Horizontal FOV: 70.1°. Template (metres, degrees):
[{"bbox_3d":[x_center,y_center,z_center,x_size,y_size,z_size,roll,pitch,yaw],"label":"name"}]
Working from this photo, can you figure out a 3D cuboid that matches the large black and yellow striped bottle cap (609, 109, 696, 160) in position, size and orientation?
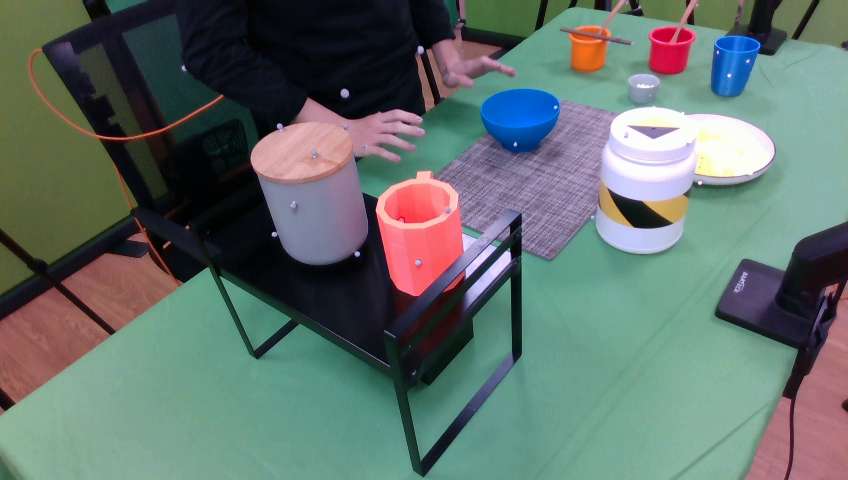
[{"bbox_3d":[0.319,-0.150,0.849,0.115,0.019,0.114,-4,39,3],"label":"large black and yellow striped bottle cap"}]

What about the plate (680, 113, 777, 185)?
[{"bbox_3d":[0.506,-0.158,1.073,0.209,0.038,0.208,-5,40,4],"label":"plate"}]

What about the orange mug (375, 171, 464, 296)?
[{"bbox_3d":[-0.001,-0.016,0.662,0.083,0.101,0.125,-2,45,8],"label":"orange mug"}]

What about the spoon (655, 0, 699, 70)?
[{"bbox_3d":[0.567,-0.463,1.337,0.041,0.022,0.193,30,96,38],"label":"spoon"}]

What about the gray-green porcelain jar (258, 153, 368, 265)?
[{"bbox_3d":[-0.122,-0.043,0.691,0.106,0.127,0.105,-4,40,4],"label":"gray-green porcelain jar"}]

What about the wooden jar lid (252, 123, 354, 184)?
[{"bbox_3d":[-0.129,-0.090,0.652,0.108,0.021,0.108,-3,41,4],"label":"wooden jar lid"}]

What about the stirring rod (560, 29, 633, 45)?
[{"bbox_3d":[0.381,-0.452,1.345,0.174,0.006,0.014,25,49,33],"label":"stirring rod"}]

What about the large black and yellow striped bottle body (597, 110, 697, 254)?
[{"bbox_3d":[0.331,-0.086,0.904,0.131,0.185,0.130,-5,41,4],"label":"large black and yellow striped bottle body"}]

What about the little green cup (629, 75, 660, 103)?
[{"bbox_3d":[0.457,-0.314,1.260,0.061,0.039,0.061,-4,40,4],"label":"little green cup"}]

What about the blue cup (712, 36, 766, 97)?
[{"bbox_3d":[0.627,-0.350,1.227,0.092,0.100,0.092,-4,39,4],"label":"blue cup"}]

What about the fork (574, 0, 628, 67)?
[{"bbox_3d":[0.413,-0.481,1.377,0.207,0.019,0.028,-56,42,12],"label":"fork"}]

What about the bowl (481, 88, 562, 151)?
[{"bbox_3d":[0.187,-0.223,1.162,0.151,0.077,0.150,-4,40,4],"label":"bowl"}]
